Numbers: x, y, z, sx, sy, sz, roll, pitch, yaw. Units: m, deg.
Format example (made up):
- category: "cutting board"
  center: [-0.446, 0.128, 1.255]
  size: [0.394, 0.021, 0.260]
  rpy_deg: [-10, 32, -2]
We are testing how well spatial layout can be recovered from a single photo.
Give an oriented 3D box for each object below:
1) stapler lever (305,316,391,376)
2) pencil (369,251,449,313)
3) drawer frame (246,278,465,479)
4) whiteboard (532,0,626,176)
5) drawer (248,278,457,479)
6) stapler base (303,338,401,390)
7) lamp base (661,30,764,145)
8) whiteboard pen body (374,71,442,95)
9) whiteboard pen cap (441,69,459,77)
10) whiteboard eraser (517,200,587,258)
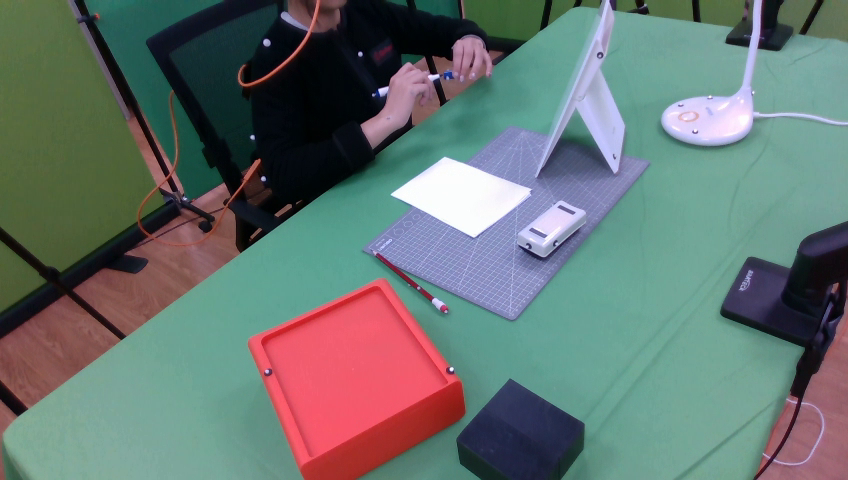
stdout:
- category: "stapler lever"
  center: [-0.100, 0.137, 0.790]
  size: [0.118, 0.040, 0.026]
  rpy_deg: [-23, 44, -12]
- category: "pencil"
  center: [-0.028, 0.060, 0.924]
  size: [0.012, 0.012, 0.192]
  rpy_deg: [-33, 46, -25]
- category: "drawer frame"
  center: [-0.088, 0.168, 0.752]
  size: [0.202, 0.083, 0.211]
  rpy_deg: [-24, 43, -18]
- category: "whiteboard"
  center: [0.321, -0.258, 1.049]
  size: [0.144, 0.306, 0.217]
  rpy_deg: [21, 45, 5]
- category: "drawer"
  center: [-0.092, 0.168, 0.756]
  size: [0.195, 0.073, 0.210]
  rpy_deg: [-24, 43, -18]
- category: "stapler base"
  center: [-0.096, 0.160, 0.813]
  size: [0.131, 0.024, 0.041]
  rpy_deg: [-17, 43, -17]
- category: "lamp base"
  center: [0.535, -0.287, 1.096]
  size: [0.179, 0.181, 0.159]
  rpy_deg: [-10, 40, -4]
- category: "whiteboard pen body"
  center: [-0.031, -0.313, 1.199]
  size: [0.141, 0.017, 0.017]
  rpy_deg: [-18, 41, -5]
- category: "whiteboard pen cap"
  center: [0.052, -0.334, 1.211]
  size: [0.033, 0.018, 0.018]
  rpy_deg: [-6, 40, -10]
- category: "whiteboard eraser"
  center: [0.201, -0.016, 0.943]
  size: [0.113, 0.042, 0.055]
  rpy_deg: [-37, 46, -29]
